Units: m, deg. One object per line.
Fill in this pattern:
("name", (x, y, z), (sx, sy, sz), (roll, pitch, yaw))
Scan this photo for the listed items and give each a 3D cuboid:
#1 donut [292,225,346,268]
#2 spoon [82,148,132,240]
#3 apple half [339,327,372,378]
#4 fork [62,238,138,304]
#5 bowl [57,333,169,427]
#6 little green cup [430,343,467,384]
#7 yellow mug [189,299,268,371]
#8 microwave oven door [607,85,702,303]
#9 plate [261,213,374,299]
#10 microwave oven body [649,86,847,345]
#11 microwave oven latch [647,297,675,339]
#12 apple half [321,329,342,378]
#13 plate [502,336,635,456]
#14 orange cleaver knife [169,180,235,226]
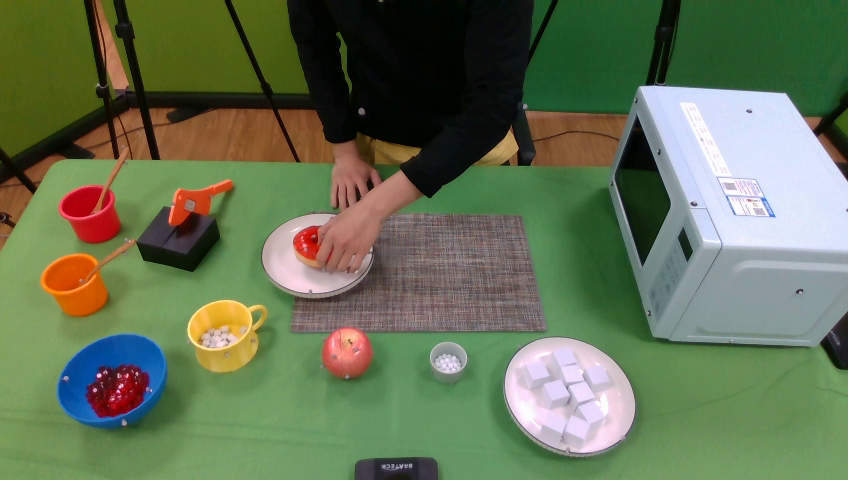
("donut", (-0.193, 0.012, 1.119), (0.099, 0.048, 0.098), (5, 39, -4))
("spoon", (-0.602, -0.089, 1.156), (0.041, 0.022, 0.194), (28, 95, 23))
("apple half", (-0.111, 0.183, 0.980), (0.053, 0.075, 0.080), (-2, 42, -12))
("fork", (-0.546, 0.053, 1.018), (0.207, 0.019, 0.028), (-36, 41, 23))
("bowl", (-0.456, 0.223, 0.911), (0.151, 0.077, 0.150), (3, 45, -2))
("little green cup", (0.039, 0.203, 0.994), (0.061, 0.039, 0.061), (2, 46, -2))
("yellow mug", (-0.316, 0.148, 1.002), (0.131, 0.064, 0.099), (-33, 56, -31))
("microwave oven door", (0.423, -0.094, 1.141), (0.039, 0.245, 0.353), (2, 46, -1))
("plate", (-0.198, 0.032, 1.137), (0.209, 0.038, 0.208), (2, 46, -2))
("microwave oven body", (0.568, -0.053, 1.118), (0.326, 0.261, 0.439), (2, 45, -1))
("microwave oven latch", (0.413, 0.134, 1.061), (0.030, 0.029, 0.078), (5, 45, 2))
("apple half", (-0.149, 0.186, 0.972), (0.033, 0.081, 0.080), (-2, 46, -13))
("plate", (0.225, 0.248, 0.963), (0.208, 0.039, 0.206), (2, 46, -2))
("orange cleaver knife", (-0.435, -0.076, 1.199), (0.012, 0.077, 0.211), (17, 17, 9))
